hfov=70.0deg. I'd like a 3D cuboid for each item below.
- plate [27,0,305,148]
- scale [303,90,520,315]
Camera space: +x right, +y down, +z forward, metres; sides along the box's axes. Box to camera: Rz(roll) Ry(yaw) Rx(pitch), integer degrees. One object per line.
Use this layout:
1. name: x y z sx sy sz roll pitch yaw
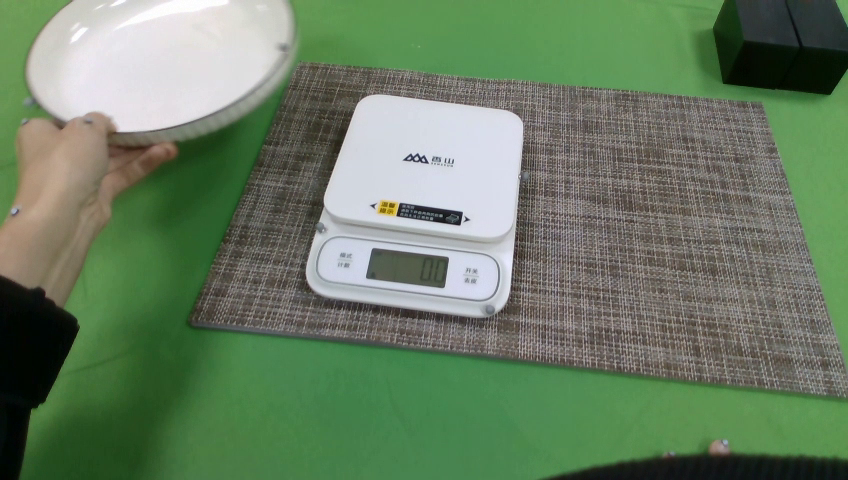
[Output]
1. plate: -0.195 -0.148 0.479 0.207 0.039 0.205 -1 57 1
2. scale: -0.003 -0.039 0.477 0.148 0.032 0.199 7 53 5
